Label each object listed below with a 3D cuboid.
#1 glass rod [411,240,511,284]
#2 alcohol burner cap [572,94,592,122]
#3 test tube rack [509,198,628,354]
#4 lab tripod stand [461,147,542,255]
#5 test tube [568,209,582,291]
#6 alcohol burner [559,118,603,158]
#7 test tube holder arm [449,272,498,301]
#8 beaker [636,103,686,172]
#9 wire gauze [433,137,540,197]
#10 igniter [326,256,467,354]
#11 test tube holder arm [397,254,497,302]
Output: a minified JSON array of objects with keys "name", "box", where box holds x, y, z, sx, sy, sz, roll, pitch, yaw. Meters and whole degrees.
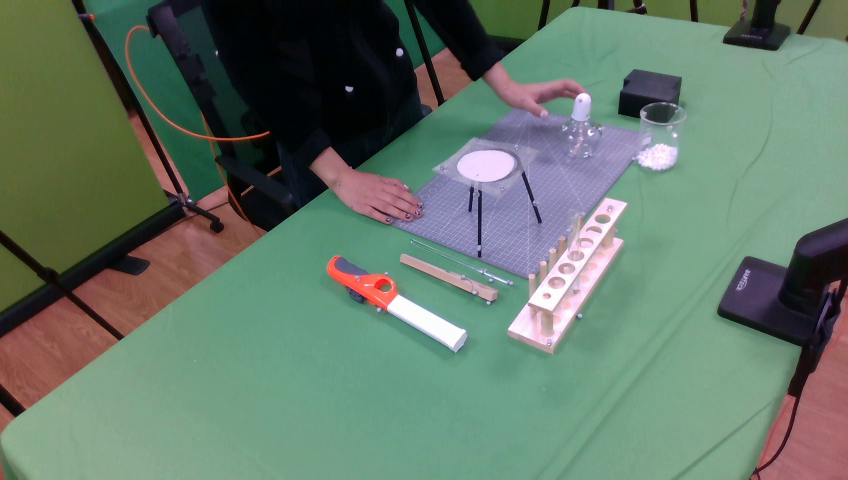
[{"name":"glass rod","box":[0.053,0.033,0.947,0.198,0.008,0.008,22,50,36]},{"name":"alcohol burner cap","box":[0.284,-0.238,1.079,0.034,0.048,0.033,-1,48,2]},{"name":"test tube rack","box":[0.206,0.039,0.850,0.066,0.085,0.243,20,48,31]},{"name":"lab tripod stand","box":[0.114,-0.069,0.953,0.148,0.132,0.147,-5,38,4]},{"name":"test tube","box":[0.200,0.017,0.799,0.017,0.151,0.017,-8,45,8]},{"name":"alcohol burner","box":[0.287,-0.212,1.104,0.078,0.119,0.077,-4,40,4]},{"name":"test tube holder arm","box":[0.070,0.069,0.894,0.087,0.015,0.010,21,11,31]},{"name":"beaker","box":[0.413,-0.177,1.055,0.084,0.101,0.073,-28,44,-21]},{"name":"wire gauze","box":[0.094,-0.116,0.907,0.124,0.011,0.122,21,47,30]},{"name":"igniter","box":[-0.051,0.088,0.886,0.274,0.025,0.057,27,62,35]},{"name":"test tube holder arm","box":[0.031,0.055,0.912,0.177,0.015,0.013,21,11,30]}]
